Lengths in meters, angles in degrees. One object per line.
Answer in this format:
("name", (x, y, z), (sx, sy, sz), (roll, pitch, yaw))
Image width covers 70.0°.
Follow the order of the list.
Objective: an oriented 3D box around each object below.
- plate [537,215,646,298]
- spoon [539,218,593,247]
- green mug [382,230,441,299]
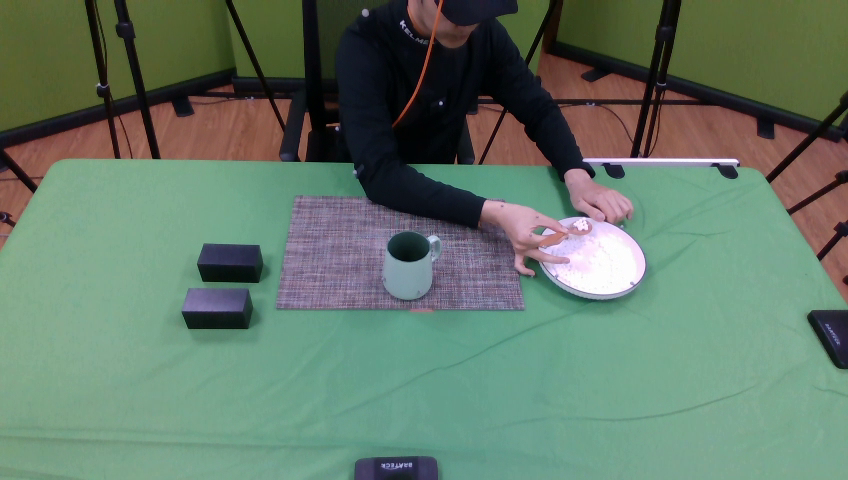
("plate", (0.321, 0.035, 1.176), (0.209, 0.038, 0.208), (2, 47, -2))
("spoon", (0.269, -0.015, 1.154), (0.041, 0.022, 0.194), (34, 31, 30))
("green mug", (-0.017, 0.037, 1.097), (0.125, 0.105, 0.092), (-34, 57, -31))
